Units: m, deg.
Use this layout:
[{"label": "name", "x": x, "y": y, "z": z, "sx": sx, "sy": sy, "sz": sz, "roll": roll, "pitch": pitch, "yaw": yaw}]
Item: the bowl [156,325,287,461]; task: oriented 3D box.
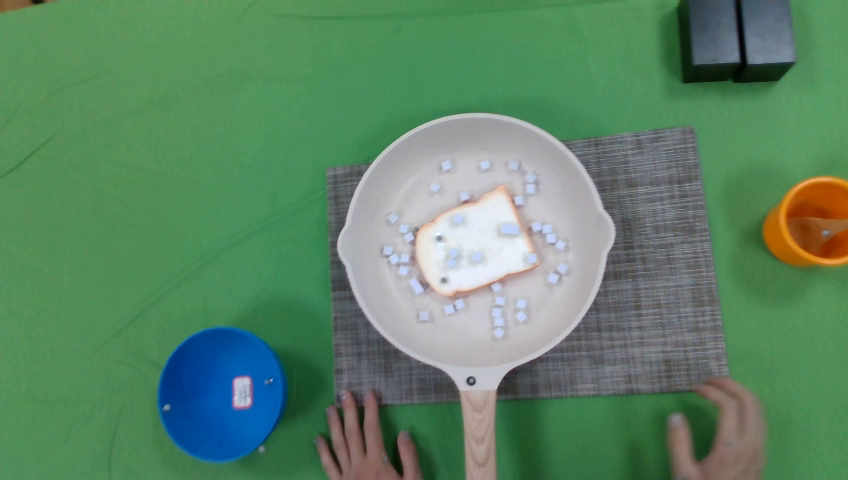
[{"label": "bowl", "x": -0.225, "y": 0.176, "z": 0.716, "sx": 0.151, "sy": 0.077, "sz": 0.151, "roll": -1, "pitch": 82, "yaw": 9}]

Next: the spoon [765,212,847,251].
[{"label": "spoon", "x": 0.440, "y": -0.027, "z": 0.601, "sx": 0.022, "sy": 0.193, "sz": 0.041, "roll": -7, "pitch": 80, "yaw": -36}]

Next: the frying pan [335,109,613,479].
[{"label": "frying pan", "x": 0.054, "y": 0.099, "z": 0.665, "sx": 0.306, "sy": 0.103, "sz": 0.485, "roll": -3, "pitch": 73, "yaw": 10}]

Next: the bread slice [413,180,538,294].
[{"label": "bread slice", "x": 0.056, "y": 0.006, "z": 0.719, "sx": 0.134, "sy": 0.018, "sz": 0.106, "roll": -26, "pitch": 79, "yaw": 2}]
